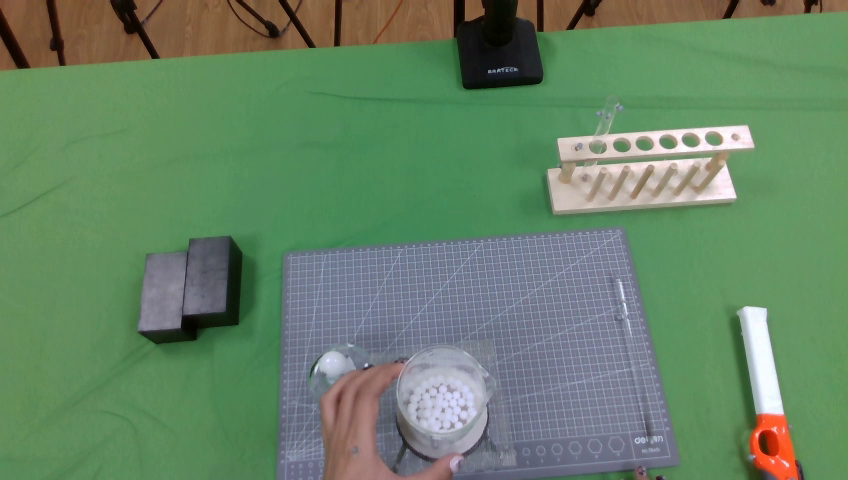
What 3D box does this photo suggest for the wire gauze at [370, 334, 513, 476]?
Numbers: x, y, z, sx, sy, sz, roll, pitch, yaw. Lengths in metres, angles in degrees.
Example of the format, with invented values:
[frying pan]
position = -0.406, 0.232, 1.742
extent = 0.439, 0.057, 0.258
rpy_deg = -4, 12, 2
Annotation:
[wire gauze]
position = 0.014, 0.155, 0.579
extent = 0.125, 0.011, 0.120
rpy_deg = -8, 64, 0

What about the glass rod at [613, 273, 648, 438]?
[glass rod]
position = 0.247, 0.134, 0.727
extent = 0.008, 0.008, 0.198
rpy_deg = -3, 68, -1

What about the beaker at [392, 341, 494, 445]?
[beaker]
position = 0.017, 0.138, 0.534
extent = 0.084, 0.101, 0.073
rpy_deg = -9, 65, -3

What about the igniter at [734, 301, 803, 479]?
[igniter]
position = 0.390, 0.203, 0.687
extent = 0.057, 0.025, 0.274
rpy_deg = 7, 66, -7

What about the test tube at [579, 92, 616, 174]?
[test tube]
position = 0.213, -0.128, 0.753
extent = 0.017, 0.151, 0.017
rpy_deg = -1, 62, 2

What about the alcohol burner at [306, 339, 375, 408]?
[alcohol burner]
position = -0.094, 0.143, 0.669
extent = 0.078, 0.120, 0.077
rpy_deg = 0, 63, 1

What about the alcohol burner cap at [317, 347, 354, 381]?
[alcohol burner cap]
position = -0.094, 0.129, 0.636
extent = 0.034, 0.048, 0.033
rpy_deg = -2, 70, 6

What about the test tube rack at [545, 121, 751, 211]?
[test tube rack]
position = 0.289, -0.095, 0.791
extent = 0.242, 0.086, 0.066
rpy_deg = -4, 65, -1

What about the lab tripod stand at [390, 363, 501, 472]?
[lab tripod stand]
position = 0.016, 0.186, 0.638
extent = 0.148, 0.132, 0.147
rpy_deg = -1, 65, 2
